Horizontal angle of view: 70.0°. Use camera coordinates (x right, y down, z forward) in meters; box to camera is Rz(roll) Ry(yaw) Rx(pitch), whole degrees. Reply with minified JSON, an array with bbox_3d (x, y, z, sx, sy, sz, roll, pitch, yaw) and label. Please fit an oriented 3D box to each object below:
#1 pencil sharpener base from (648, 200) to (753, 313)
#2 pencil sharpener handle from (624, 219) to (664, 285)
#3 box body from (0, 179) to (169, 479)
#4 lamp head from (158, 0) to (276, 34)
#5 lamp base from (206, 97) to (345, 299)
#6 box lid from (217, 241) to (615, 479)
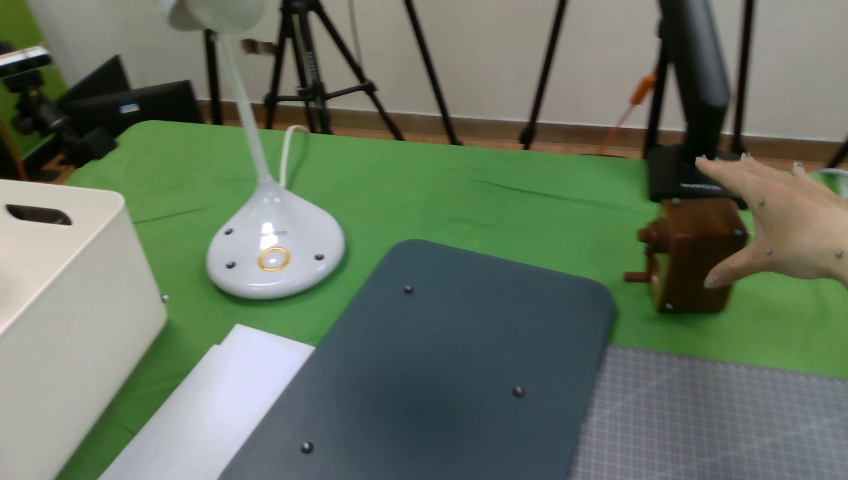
[{"bbox_3d":[0.267,0.019,0.606,0.076,0.108,0.061,-1,40,5],"label":"pencil sharpener base"},{"bbox_3d":[0.215,0.013,0.597,0.030,0.068,0.036,-1,18,5],"label":"pencil sharpener handle"},{"bbox_3d":[-0.424,0.118,0.503,0.253,0.162,0.361,6,41,12],"label":"box body"},{"bbox_3d":[-0.168,-0.234,0.456,0.112,0.123,0.112,-30,3,2],"label":"lamp head"},{"bbox_3d":[-0.182,-0.054,0.675,0.161,0.182,0.177,-13,38,-11],"label":"lamp base"},{"bbox_3d":[0.012,0.137,0.561,0.262,0.015,0.370,13,42,21],"label":"box lid"}]
